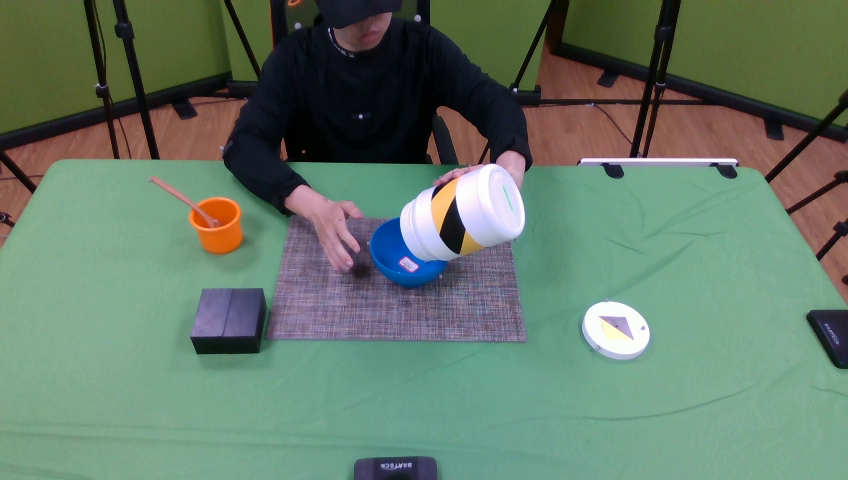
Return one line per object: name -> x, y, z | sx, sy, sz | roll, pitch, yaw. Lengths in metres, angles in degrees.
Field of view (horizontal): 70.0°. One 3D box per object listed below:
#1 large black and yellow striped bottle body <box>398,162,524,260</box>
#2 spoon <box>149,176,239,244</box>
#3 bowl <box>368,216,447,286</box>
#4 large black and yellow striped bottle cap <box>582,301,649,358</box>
large black and yellow striped bottle body -> 0.060, -0.041, 1.021 | 0.184, 0.131, 0.130 | -20, 35, 33
spoon -> -0.427, -0.057, 1.132 | 0.021, 0.195, 0.041 | -28, 30, 33
bowl -> -0.028, 0.033, 1.119 | 0.151, 0.077, 0.150 | 2, 46, -2
large black and yellow striped bottle cap -> 0.340, 0.157, 1.077 | 0.115, 0.019, 0.114 | 1, 47, -1
